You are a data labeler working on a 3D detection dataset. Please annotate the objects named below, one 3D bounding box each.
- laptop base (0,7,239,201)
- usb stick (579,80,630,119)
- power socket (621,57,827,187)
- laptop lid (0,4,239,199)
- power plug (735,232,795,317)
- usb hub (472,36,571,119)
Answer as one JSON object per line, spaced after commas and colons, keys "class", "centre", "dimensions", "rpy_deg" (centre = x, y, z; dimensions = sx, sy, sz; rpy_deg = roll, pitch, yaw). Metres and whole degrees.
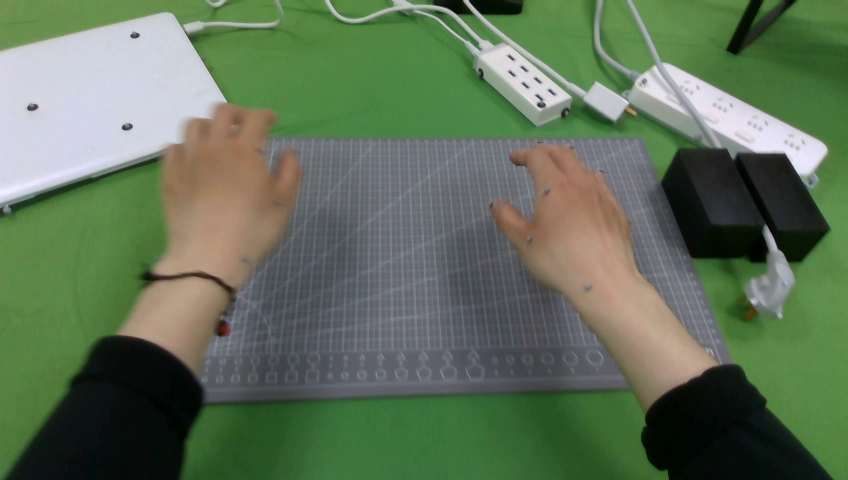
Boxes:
{"class": "laptop base", "centre": [-0.400, -0.135, 0.632], "dimensions": [0.355, 0.023, 0.233], "rpy_deg": [-24, 61, -21]}
{"class": "usb stick", "centre": [0.208, -0.156, 0.684], "dimensions": [0.059, 0.027, 0.021], "rpy_deg": [28, 10, 0]}
{"class": "power socket", "centre": [0.330, -0.135, 0.671], "dimensions": [0.225, 0.033, 0.072], "rpy_deg": [38, 59, 24]}
{"class": "laptop lid", "centre": [-0.399, -0.141, 0.622], "dimensions": [0.357, 0.013, 0.239], "rpy_deg": [-23, 59, -20]}
{"class": "power plug", "centre": [0.298, 0.035, 0.530], "dimensions": [0.035, 0.053, 0.072], "rpy_deg": [37, 43, 0]}
{"class": "usb hub", "centre": [0.111, -0.191, 0.705], "dimensions": [0.049, 0.025, 0.124], "rpy_deg": [-26, 57, -22]}
